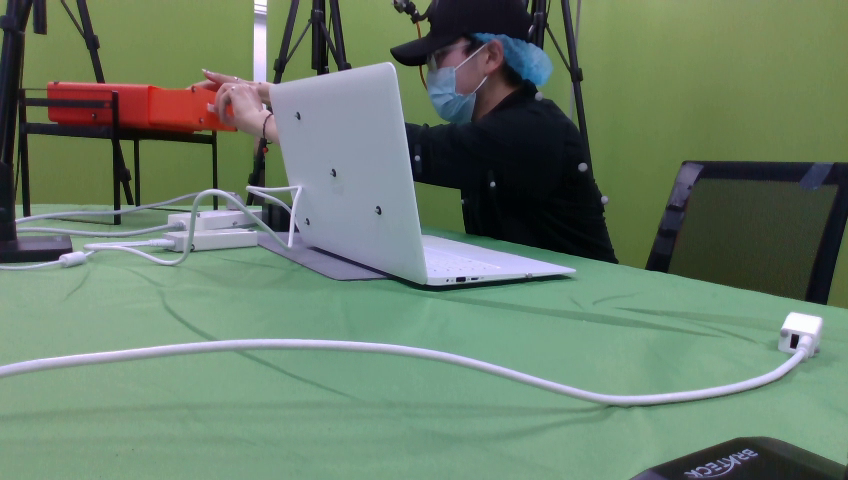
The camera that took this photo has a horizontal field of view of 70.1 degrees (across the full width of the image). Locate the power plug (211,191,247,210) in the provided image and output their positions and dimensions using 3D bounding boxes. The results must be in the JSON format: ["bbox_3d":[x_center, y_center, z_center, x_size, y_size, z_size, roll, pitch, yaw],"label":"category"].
[{"bbox_3d":[-0.386,-0.071,1.204,0.072,0.052,0.035,8,11,27],"label":"power plug"}]

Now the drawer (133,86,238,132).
[{"bbox_3d":[-0.511,-0.259,1.216,0.211,0.073,0.194,1,6,8],"label":"drawer"}]

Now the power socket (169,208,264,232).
[{"bbox_3d":[-0.380,-0.038,1.128,0.072,0.032,0.227,4,8,16],"label":"power socket"}]

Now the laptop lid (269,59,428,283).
[{"bbox_3d":[-0.110,-0.087,0.752,0.013,0.241,0.355,-18,19,-30],"label":"laptop lid"}]

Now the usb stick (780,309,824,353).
[{"bbox_3d":[0.311,0.072,0.496,0.027,0.021,0.059,7,15,34],"label":"usb stick"}]

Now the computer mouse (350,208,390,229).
[{"bbox_3d":[-0.111,-0.045,1.231,0.063,0.041,0.117,-4,2,-18],"label":"computer mouse"}]

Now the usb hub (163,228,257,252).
[{"bbox_3d":[-0.314,0.000,0.894,0.049,0.025,0.126,9,10,41],"label":"usb hub"}]

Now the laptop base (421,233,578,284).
[{"bbox_3d":[0.007,0.021,0.850,0.237,0.023,0.352,1,7,-34],"label":"laptop base"}]

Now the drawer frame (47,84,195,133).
[{"bbox_3d":[-0.591,-0.264,1.223,0.213,0.082,0.202,3,8,8],"label":"drawer frame"}]
